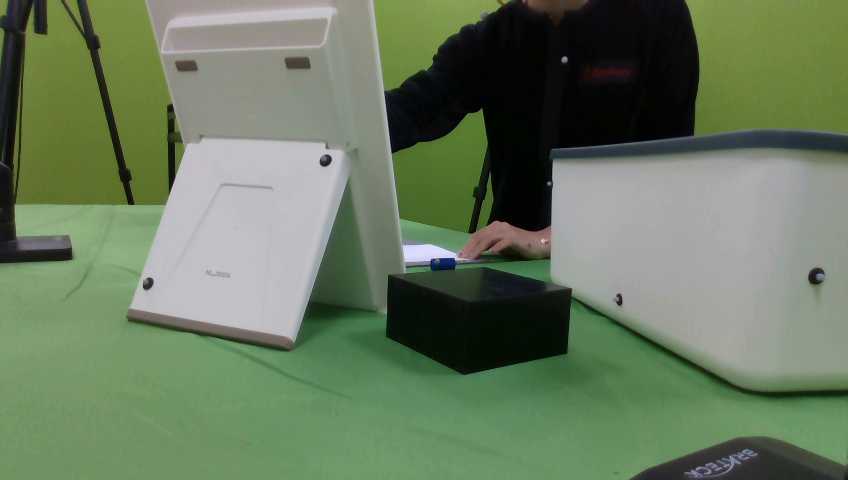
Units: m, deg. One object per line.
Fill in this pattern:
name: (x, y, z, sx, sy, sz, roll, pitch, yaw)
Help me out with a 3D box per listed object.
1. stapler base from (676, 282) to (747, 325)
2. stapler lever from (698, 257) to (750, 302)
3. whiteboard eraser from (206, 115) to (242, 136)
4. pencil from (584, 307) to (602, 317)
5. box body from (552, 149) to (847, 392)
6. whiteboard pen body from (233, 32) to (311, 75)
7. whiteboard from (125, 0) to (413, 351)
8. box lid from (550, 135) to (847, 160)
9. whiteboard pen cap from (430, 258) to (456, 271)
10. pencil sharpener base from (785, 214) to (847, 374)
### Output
stapler base: (0.283, 0.057, 0.585, 0.041, 0.024, 0.131, 31, 18, 34)
stapler lever: (0.291, 0.035, 0.580, 0.026, 0.040, 0.119, 30, 20, 34)
whiteboard eraser: (-0.438, -0.249, 1.320, 0.056, 0.042, 0.112, -3, 9, -30)
pencil: (0.250, 0.055, 0.656, 0.195, 0.012, 0.012, -13, 14, -26)
box body: (0.290, 0.002, 0.549, 0.255, 0.160, 0.363, 2, 7, -10)
whiteboard pen body: (-0.143, -0.177, 0.577, 0.017, 0.017, 0.141, 5, 31, 16)
whiteboard: (-0.151, -0.050, 0.471, 0.216, 0.305, 0.144, 6, 27, 24)
box lid: (0.294, -0.071, 0.538, 0.264, 0.015, 0.370, 2, 6, -10)
whiteboard pen cap: (0.024, 0.031, 0.791, 0.033, 0.018, 0.018, 1, 8, -13)
pencil sharpener base: (0.322, 0.038, 0.441, 0.077, 0.107, 0.061, 1, 8, -18)
